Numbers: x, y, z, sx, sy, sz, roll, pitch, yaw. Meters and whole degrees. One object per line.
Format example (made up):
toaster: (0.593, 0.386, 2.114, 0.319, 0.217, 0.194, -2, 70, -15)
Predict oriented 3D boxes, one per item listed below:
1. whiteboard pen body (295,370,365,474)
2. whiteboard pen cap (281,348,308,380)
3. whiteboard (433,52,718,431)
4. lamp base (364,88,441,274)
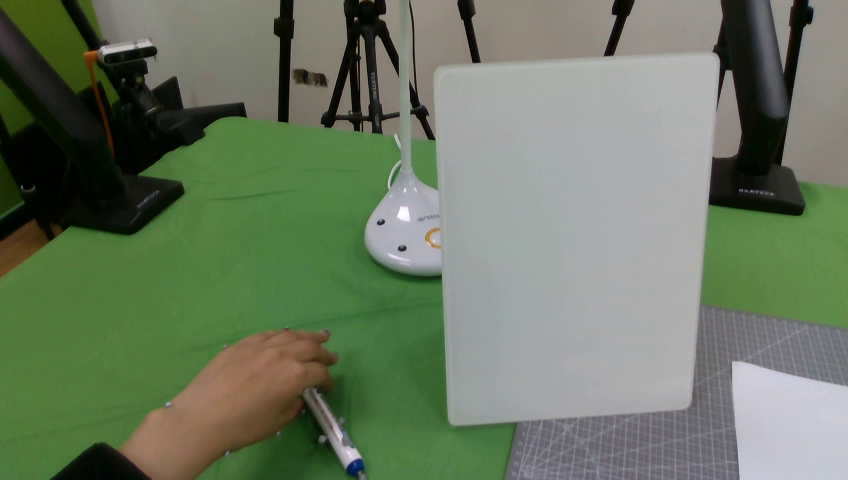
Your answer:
whiteboard pen body: (-0.090, 0.150, 0.537, 0.017, 0.017, 0.139, -21, 43, -25)
whiteboard pen cap: (-0.122, 0.119, 0.576, 0.018, 0.018, 0.033, -21, 46, -25)
whiteboard: (0.120, -0.005, 0.555, 0.217, 0.307, 0.143, -3, 16, -1)
lamp base: (-0.003, -0.077, 0.720, 0.161, 0.182, 0.177, -20, 37, -24)
